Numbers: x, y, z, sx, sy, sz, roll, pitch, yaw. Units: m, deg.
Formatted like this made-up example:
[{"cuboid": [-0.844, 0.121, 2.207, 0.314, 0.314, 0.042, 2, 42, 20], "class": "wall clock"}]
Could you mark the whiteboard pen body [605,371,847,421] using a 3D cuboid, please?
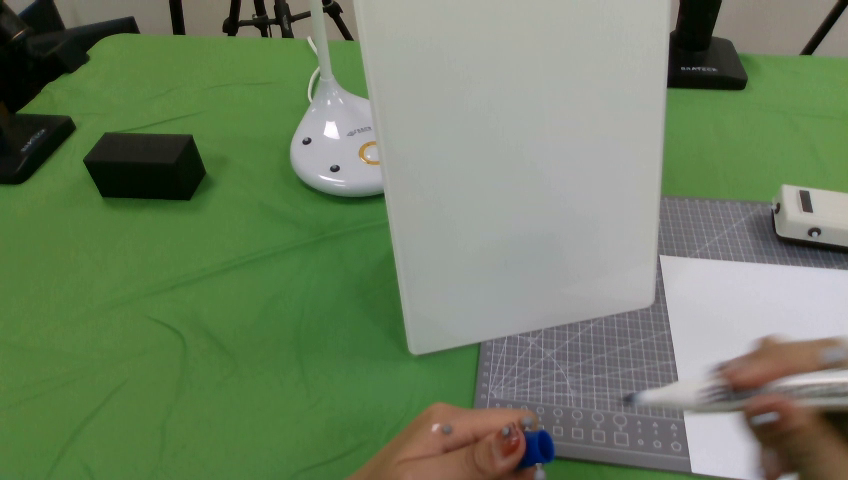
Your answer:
[{"cuboid": [0.136, 0.060, 0.232, 0.140, 0.017, 0.017, -15, 34, 37], "class": "whiteboard pen body"}]

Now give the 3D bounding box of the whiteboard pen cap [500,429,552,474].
[{"cuboid": [0.052, 0.106, 0.303, 0.018, 0.033, 0.018, 9, 58, -14], "class": "whiteboard pen cap"}]

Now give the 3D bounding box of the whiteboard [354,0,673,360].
[{"cuboid": [0.064, -0.086, 0.503, 0.217, 0.308, 0.142, -10, 26, -6], "class": "whiteboard"}]

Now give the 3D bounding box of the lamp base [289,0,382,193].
[{"cuboid": [-0.084, -0.168, 0.641, 0.160, 0.182, 0.177, -31, 49, -26], "class": "lamp base"}]

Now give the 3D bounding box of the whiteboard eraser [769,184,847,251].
[{"cuboid": [0.384, -0.017, 0.561, 0.112, 0.042, 0.055, 10, 45, 13], "class": "whiteboard eraser"}]
